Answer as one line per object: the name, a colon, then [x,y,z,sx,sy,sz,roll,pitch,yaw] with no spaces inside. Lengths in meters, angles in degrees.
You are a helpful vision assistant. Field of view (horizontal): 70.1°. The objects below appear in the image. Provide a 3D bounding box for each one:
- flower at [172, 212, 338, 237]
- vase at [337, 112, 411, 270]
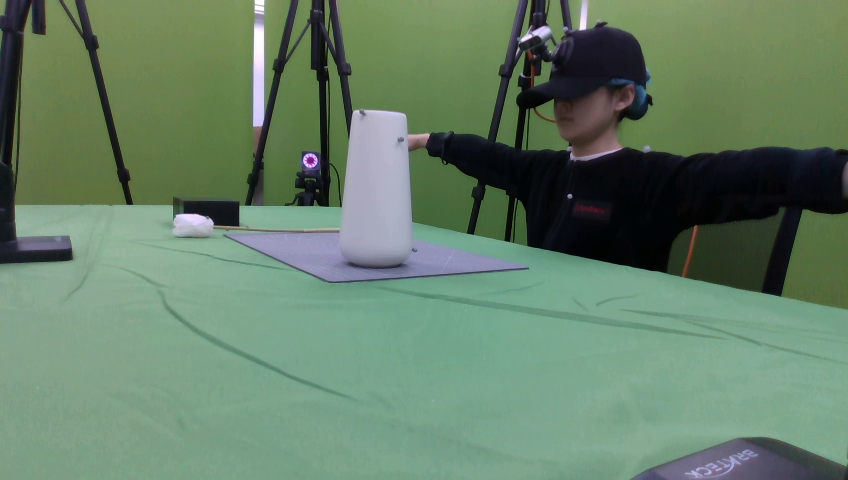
flower: [-0.254,-0.017,1.079,0.364,0.038,0.044,4,39,-31]
vase: [-0.064,-0.064,0.790,0.098,0.200,0.098,2,7,0]
